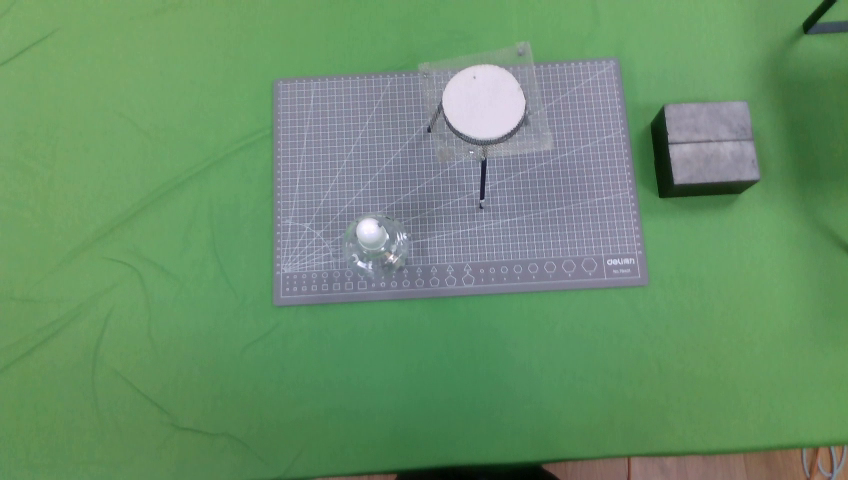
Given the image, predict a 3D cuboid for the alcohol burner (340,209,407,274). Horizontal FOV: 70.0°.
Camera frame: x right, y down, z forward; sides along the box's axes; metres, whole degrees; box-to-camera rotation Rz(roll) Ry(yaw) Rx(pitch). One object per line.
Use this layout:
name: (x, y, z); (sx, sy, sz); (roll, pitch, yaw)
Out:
alcohol burner: (-0.059, -0.003, 0.683); (0.078, 0.119, 0.077); (0, 76, 0)

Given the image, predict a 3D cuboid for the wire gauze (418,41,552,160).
wire gauze: (0.063, -0.145, 0.635); (0.125, 0.011, 0.121); (-9, 77, -2)

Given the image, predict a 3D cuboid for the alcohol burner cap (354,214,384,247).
alcohol burner cap: (-0.061, -0.012, 0.648); (0.034, 0.048, 0.033); (0, 80, -1)

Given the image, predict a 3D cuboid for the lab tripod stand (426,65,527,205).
lab tripod stand: (0.067, -0.132, 0.700); (0.148, 0.132, 0.147); (0, 75, 1)
